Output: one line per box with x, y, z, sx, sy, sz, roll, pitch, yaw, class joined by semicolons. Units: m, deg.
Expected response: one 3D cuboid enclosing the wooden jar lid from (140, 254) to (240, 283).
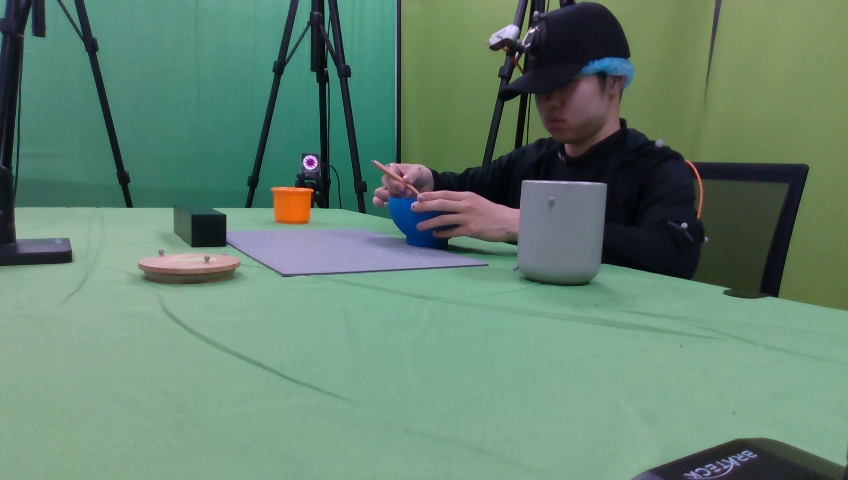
-0.269;0.032;0.698;0.108;0.020;0.108;2;5;0;wooden jar lid

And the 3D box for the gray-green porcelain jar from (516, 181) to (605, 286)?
0.172;-0.010;0.768;0.106;0.126;0.106;2;7;0;gray-green porcelain jar

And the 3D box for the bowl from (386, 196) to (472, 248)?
0.006;-0.030;1.051;0.151;0.077;0.151;6;6;0;bowl

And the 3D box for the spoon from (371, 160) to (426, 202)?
-0.019;-0.082;1.069;0.193;0.021;0.042;43;23;8;spoon
